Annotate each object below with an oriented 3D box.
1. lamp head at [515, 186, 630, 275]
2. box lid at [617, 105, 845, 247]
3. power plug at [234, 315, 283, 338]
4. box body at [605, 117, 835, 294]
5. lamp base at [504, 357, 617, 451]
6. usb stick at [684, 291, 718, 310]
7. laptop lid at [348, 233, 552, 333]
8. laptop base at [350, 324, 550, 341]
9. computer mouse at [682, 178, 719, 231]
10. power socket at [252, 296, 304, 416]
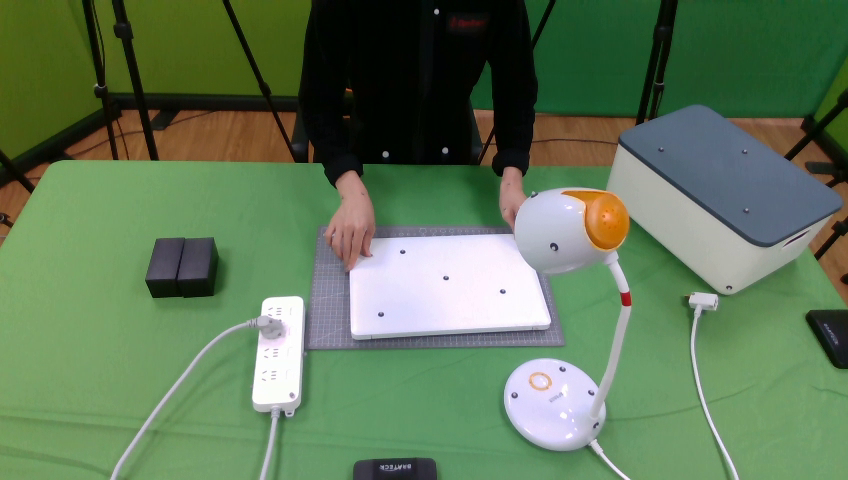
[{"bbox_3d":[0.188,-0.013,0.728,0.112,0.112,0.122,-25,9,-25],"label":"lamp head"},{"bbox_3d":[0.586,-0.138,1.176,0.263,0.015,0.369,-22,51,-23],"label":"box lid"},{"bbox_3d":[-0.269,0.143,1.000,0.072,0.053,0.035,4,46,3],"label":"power plug"},{"bbox_3d":[0.582,-0.088,1.230,0.254,0.161,0.361,-22,52,-23],"label":"box body"},{"bbox_3d":[0.220,0.211,0.903,0.160,0.181,0.178,-33,59,-30],"label":"lamp base"},{"bbox_3d":[0.509,0.111,1.121,0.059,0.021,0.027,6,54,46],"label":"usb stick"},{"bbox_3d":[0.039,0.072,1.116,0.357,0.013,0.240,-1,44,-5],"label":"laptop lid"},{"bbox_3d":[0.038,0.082,1.124,0.355,0.023,0.234,-2,43,-7],"label":"laptop base"},{"bbox_3d":[0.596,-0.078,1.290,0.117,0.041,0.062,56,45,-7],"label":"computer mouse"},{"bbox_3d":[-0.238,0.181,0.997,0.072,0.033,0.225,-3,47,-5],"label":"power socket"}]
